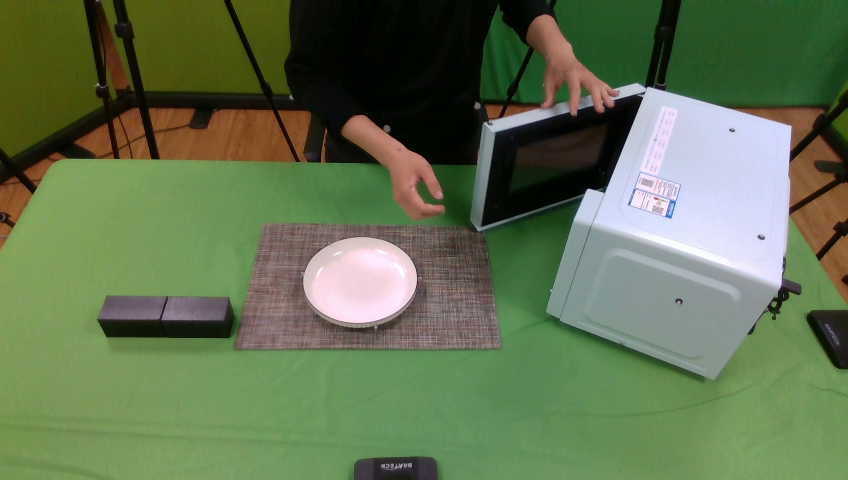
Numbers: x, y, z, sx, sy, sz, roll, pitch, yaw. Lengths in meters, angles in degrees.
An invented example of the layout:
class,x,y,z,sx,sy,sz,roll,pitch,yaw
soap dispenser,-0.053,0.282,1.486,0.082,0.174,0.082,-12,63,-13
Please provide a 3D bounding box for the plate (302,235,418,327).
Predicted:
class,x,y,z,sx,sy,sz,roll,pitch,yaw
plate,-0.114,0.077,1.098,0.208,0.039,0.206,2,46,-2

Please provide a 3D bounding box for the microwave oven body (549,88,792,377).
class,x,y,z,sx,sy,sz,roll,pitch,yaw
microwave oven body,0.456,-0.028,1.088,0.325,0.261,0.440,20,47,16

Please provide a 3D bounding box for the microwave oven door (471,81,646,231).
class,x,y,z,sx,sy,sz,roll,pitch,yaw
microwave oven door,0.265,-0.166,1.198,0.356,0.245,0.039,-19,49,-20

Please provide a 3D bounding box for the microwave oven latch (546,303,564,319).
class,x,y,z,sx,sy,sz,roll,pitch,yaw
microwave oven latch,0.242,0.102,1.081,0.030,0.029,0.079,21,48,17

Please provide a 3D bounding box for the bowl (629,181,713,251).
class,x,y,z,sx,sy,sz,roll,pitch,yaw
bowl,0.450,-0.032,1.138,0.151,0.077,0.150,4,49,-4
